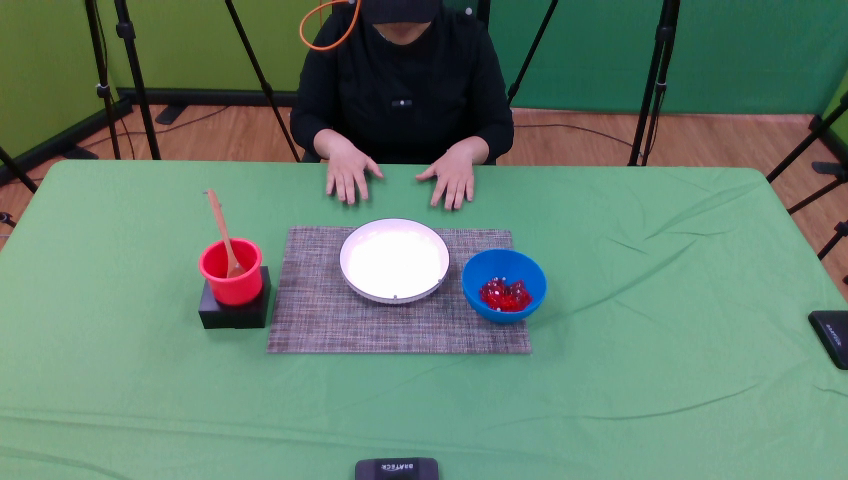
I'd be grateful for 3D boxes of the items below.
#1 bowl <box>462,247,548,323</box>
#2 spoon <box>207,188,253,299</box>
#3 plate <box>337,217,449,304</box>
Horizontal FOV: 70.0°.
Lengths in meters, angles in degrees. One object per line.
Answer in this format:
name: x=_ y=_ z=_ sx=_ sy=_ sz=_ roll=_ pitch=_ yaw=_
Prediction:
bowl: x=0.138 y=0.093 z=1.072 sx=0.151 sy=0.077 sz=0.150 roll=2 pitch=46 yaw=-2
spoon: x=-0.328 y=0.005 z=1.013 sx=0.042 sy=0.021 sz=0.193 roll=-16 pitch=94 yaw=-19
plate: x=-0.058 y=0.042 z=1.136 sx=0.208 sy=0.039 sz=0.206 roll=2 pitch=46 yaw=-2
